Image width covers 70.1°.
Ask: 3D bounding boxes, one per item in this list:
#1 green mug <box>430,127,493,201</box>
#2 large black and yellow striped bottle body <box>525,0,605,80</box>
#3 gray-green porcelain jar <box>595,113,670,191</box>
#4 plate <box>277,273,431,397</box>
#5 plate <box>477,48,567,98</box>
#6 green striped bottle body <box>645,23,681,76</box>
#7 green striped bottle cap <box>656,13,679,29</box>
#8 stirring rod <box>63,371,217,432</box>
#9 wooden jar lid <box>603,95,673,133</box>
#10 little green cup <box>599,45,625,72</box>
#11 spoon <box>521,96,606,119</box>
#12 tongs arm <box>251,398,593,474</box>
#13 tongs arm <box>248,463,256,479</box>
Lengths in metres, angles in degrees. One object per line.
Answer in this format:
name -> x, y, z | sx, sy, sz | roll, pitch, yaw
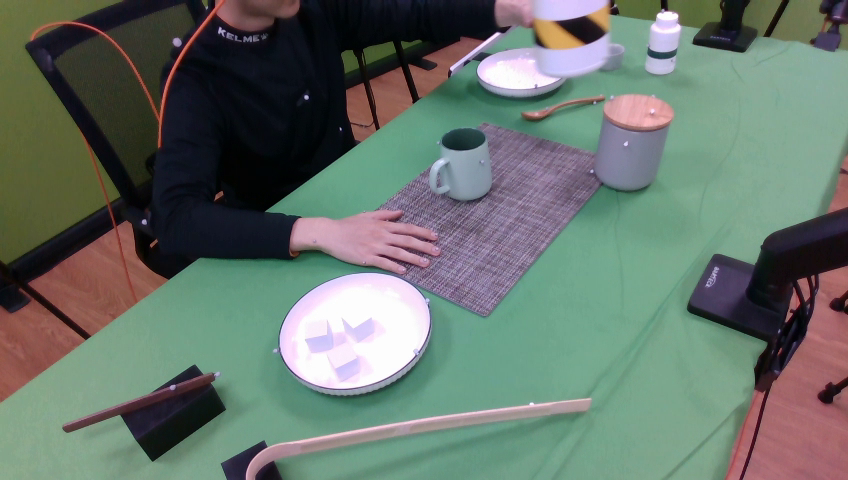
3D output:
green mug -> 0.059, -0.122, 1.034 | 0.126, 0.105, 0.091 | -35, 48, -28
large black and yellow striped bottle body -> 0.245, -0.390, 1.055 | 0.130, 0.185, 0.130 | -9, 38, 8
gray-green porcelain jar -> 0.346, -0.155, 1.017 | 0.106, 0.127, 0.105 | -2, 44, 2
plate -> -0.091, 0.129, 0.821 | 0.207, 0.039, 0.206 | -4, 40, 4
plate -> 0.223, -0.371, 1.357 | 0.209, 0.038, 0.208 | -4, 41, 4
green striped bottle body -> 0.520, -0.424, 1.312 | 0.063, 0.120, 0.063 | -4, 41, 4
green striped bottle cap -> 0.515, -0.463, 1.278 | 0.044, 0.020, 0.044 | -6, 42, 6
stirring rod -> -0.337, 0.192, 0.723 | 0.177, 0.014, 0.005 | -18, 42, -12
wooden jar lid -> 0.343, -0.200, 0.974 | 0.108, 0.021, 0.108 | -1, 39, 2
little green cup -> 0.423, -0.412, 1.375 | 0.061, 0.039, 0.061 | -4, 41, 4
spoon -> 0.291, -0.277, 1.249 | 0.194, 0.022, 0.041 | -17, 28, -11
tongs arm -> 0.008, 0.212, 0.675 | 0.389, 0.028, 0.028 | -5, 46, -11
tongs arm -> 0.012, 0.262, 0.615 | 0.385, 0.026, 0.050 | 2, 42, -2
